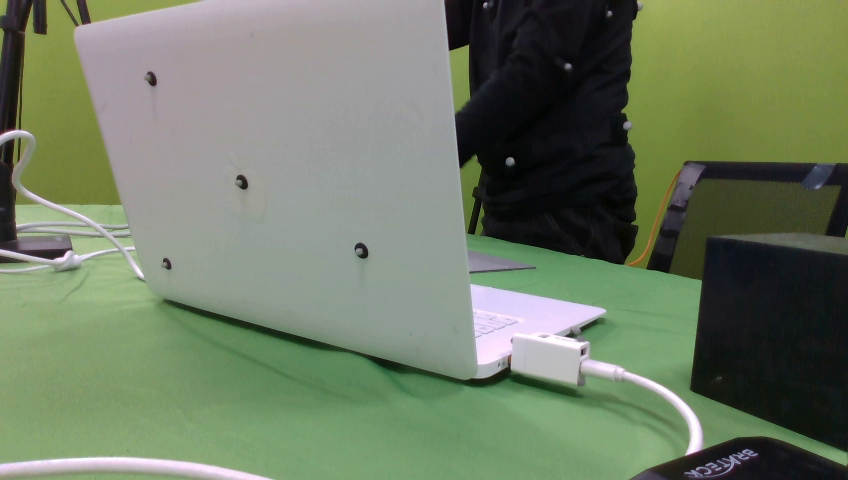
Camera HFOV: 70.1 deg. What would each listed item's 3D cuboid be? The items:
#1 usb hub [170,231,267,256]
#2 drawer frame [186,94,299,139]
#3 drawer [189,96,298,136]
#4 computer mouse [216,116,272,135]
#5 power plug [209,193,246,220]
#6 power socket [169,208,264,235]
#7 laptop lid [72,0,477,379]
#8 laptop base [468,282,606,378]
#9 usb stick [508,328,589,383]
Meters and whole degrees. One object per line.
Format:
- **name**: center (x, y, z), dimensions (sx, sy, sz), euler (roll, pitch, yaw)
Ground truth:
- **usb hub**: center (-0.290, 0.004, 0.862), dimensions (0.049, 0.025, 0.126), euler (10, 11, 42)
- **drawer frame**: center (-0.417, -0.277, 1.378), dimensions (0.203, 0.082, 0.212), euler (-3, 8, -32)
- **drawer**: center (-0.414, -0.276, 1.376), dimensions (0.195, 0.073, 0.210), euler (-3, 9, -31)
- **computer mouse**: center (-0.402, -0.258, 1.353), dimensions (0.118, 0.041, 0.062), euler (-7, 16, -34)
- **power plug**: center (-0.388, -0.067, 1.206), dimensions (0.072, 0.052, 0.035), euler (4, 8, 27)
- **power socket**: center (-0.381, -0.038, 1.129), dimensions (0.072, 0.032, 0.227), euler (4, 8, 16)
- **laptop lid**: center (-0.125, -0.042, 0.418), dimensions (0.355, 0.241, 0.013), euler (9, 25, 34)
- **laptop base**: center (-0.042, 0.058, 0.554), dimensions (0.352, 0.023, 0.237), euler (7, 7, 35)
- **usb stick**: center (0.072, 0.072, 0.383), dimensions (0.059, 0.027, 0.021), euler (2, 2, 34)
